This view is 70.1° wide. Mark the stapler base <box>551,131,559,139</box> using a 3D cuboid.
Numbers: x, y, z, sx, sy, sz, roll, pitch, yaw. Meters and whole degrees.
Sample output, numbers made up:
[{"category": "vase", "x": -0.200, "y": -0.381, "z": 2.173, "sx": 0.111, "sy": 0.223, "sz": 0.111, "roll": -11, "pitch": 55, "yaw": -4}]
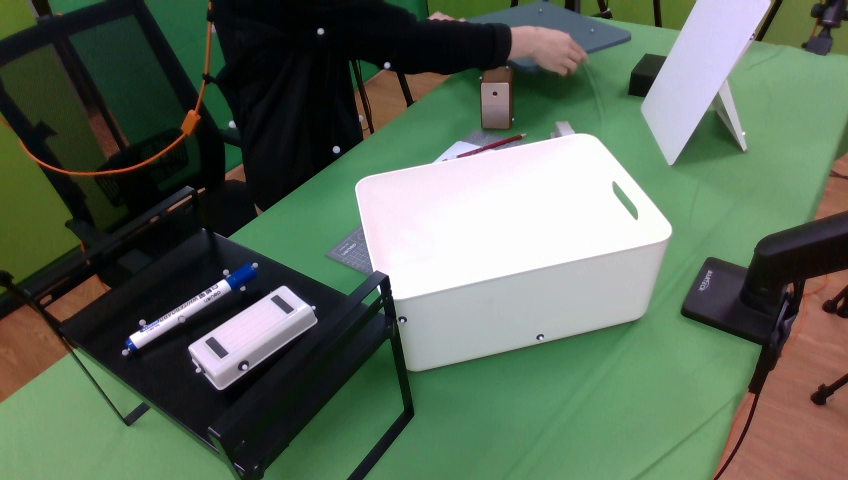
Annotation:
[{"category": "stapler base", "x": 0.268, "y": -0.178, "z": 1.142, "sx": 0.041, "sy": 0.024, "sz": 0.130, "roll": 1, "pitch": 37, "yaw": 3}]

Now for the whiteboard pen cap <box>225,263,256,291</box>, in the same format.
[{"category": "whiteboard pen cap", "x": -0.204, "y": 0.041, "z": 0.668, "sx": 0.033, "sy": 0.018, "sz": 0.018, "roll": -36, "pitch": 48, "yaw": -22}]

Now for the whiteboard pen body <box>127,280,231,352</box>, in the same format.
[{"category": "whiteboard pen body", "x": -0.248, "y": 0.072, "z": 0.645, "sx": 0.141, "sy": 0.017, "sz": 0.017, "roll": -35, "pitch": 47, "yaw": -23}]

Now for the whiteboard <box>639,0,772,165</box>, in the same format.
[{"category": "whiteboard", "x": 0.543, "y": -0.298, "z": 1.076, "sx": 0.144, "sy": 0.305, "sz": 0.216, "roll": 12, "pitch": 40, "yaw": -7}]

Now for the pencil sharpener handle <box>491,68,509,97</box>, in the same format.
[{"category": "pencil sharpener handle", "x": 0.156, "y": -0.333, "z": 1.258, "sx": 0.036, "sy": 0.068, "sz": 0.030, "roll": 15, "pitch": 42, "yaw": 2}]

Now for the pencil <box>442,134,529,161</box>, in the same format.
[{"category": "pencil", "x": 0.123, "y": -0.180, "z": 1.175, "sx": 0.195, "sy": 0.012, "sz": 0.012, "roll": -20, "pitch": 42, "yaw": -17}]

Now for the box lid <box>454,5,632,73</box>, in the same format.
[{"category": "box lid", "x": 0.251, "y": -0.458, "z": 1.349, "sx": 0.264, "sy": 0.015, "sz": 0.368, "roll": -19, "pitch": 37, "yaw": -15}]

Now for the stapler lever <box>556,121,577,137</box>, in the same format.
[{"category": "stapler lever", "x": 0.266, "y": -0.198, "z": 1.128, "sx": 0.027, "sy": 0.040, "sz": 0.117, "roll": 0, "pitch": 38, "yaw": 3}]

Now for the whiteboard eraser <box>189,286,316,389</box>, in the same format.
[{"category": "whiteboard eraser", "x": -0.166, "y": 0.096, "z": 0.593, "sx": 0.113, "sy": 0.042, "sz": 0.055, "roll": -36, "pitch": 47, "yaw": -29}]

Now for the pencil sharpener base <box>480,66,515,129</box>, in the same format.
[{"category": "pencil sharpener base", "x": 0.151, "y": -0.290, "z": 1.228, "sx": 0.061, "sy": 0.107, "sz": 0.076, "roll": 3, "pitch": 41, "yaw": 13}]

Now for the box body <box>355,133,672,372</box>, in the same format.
[{"category": "box body", "x": 0.108, "y": 0.013, "z": 0.834, "sx": 0.365, "sy": 0.161, "sz": 0.252, "roll": -12, "pitch": 41, "yaw": -6}]
